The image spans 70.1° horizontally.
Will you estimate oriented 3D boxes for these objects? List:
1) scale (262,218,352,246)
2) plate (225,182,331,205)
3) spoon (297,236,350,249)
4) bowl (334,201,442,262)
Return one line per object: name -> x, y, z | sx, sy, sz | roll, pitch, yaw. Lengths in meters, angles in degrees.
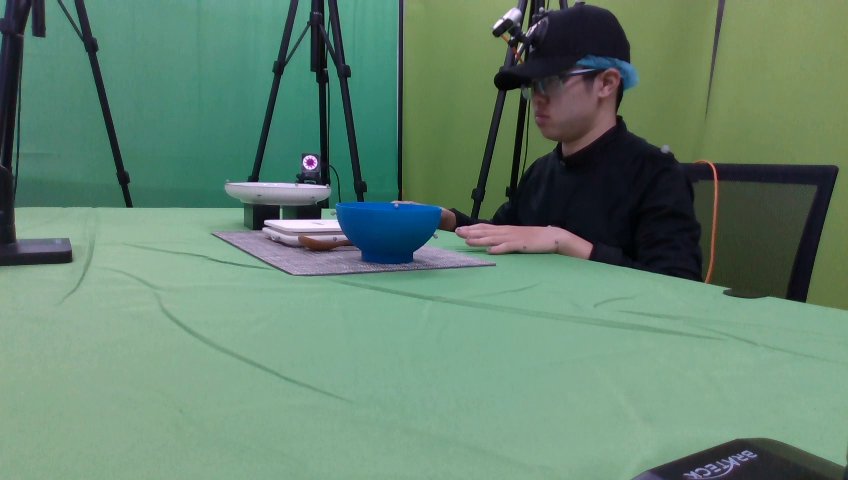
scale -> -0.160, -0.016, 1.028 | 0.202, 0.031, 0.148 | -2, 9, -32
plate -> -0.294, -0.096, 1.229 | 0.209, 0.038, 0.209 | 3, 7, 0
spoon -> -0.103, 0.002, 0.943 | 0.195, 0.021, 0.041 | -2, -6, -30
bowl -> -0.051, -0.012, 0.848 | 0.151, 0.077, 0.151 | 2, 7, 0
